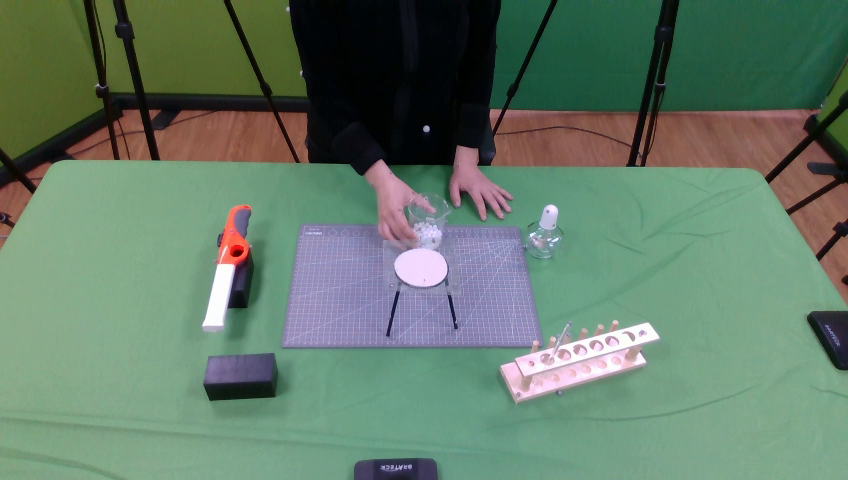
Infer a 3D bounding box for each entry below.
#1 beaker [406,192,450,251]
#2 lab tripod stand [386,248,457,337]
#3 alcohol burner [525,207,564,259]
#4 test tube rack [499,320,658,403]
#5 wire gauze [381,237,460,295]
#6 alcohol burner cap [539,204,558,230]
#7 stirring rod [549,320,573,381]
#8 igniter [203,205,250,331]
[{"bbox_3d":[0.004,-0.031,1.162,0.084,0.101,0.073,5,50,-1],"label":"beaker"},{"bbox_3d":[-0.010,0.087,1.032,0.148,0.132,0.147,1,45,-1],"label":"lab tripod stand"},{"bbox_3d":[0.236,-0.020,1.174,0.078,0.120,0.077,1,48,-1],"label":"alcohol burner"},{"bbox_3d":[0.252,0.187,0.994,0.243,0.085,0.066,-12,48,-15],"label":"test tube rack"},{"bbox_3d":[-0.008,0.040,0.983,0.125,0.011,0.120,1,44,-4],"label":"wire gauze"},{"bbox_3d":[0.239,-0.045,1.148,0.034,0.048,0.033,2,43,-1],"label":"alcohol burner cap"},{"bbox_3d":[0.202,0.167,0.901,0.006,0.177,0.014,-17,55,-11],"label":"stirring rod"},{"bbox_3d":[-0.345,0.039,1.065,0.057,0.025,0.274,2,49,-6],"label":"igniter"}]
